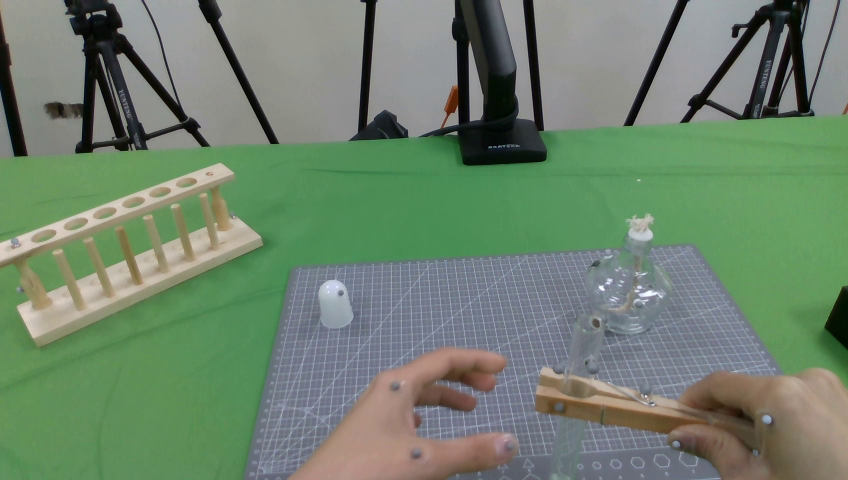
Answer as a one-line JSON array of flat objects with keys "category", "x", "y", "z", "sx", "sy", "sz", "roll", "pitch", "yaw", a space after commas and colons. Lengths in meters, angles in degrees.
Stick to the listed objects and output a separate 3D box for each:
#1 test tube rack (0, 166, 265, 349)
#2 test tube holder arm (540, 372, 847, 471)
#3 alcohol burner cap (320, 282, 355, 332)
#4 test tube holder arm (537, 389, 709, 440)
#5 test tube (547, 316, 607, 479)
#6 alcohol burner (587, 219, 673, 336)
[{"category": "test tube rack", "x": -0.300, "y": 0.010, "z": 0.642, "sx": 0.242, "sy": 0.086, "sz": 0.066, "roll": -28, "pitch": 42, "yaw": -32}, {"category": "test tube holder arm", "x": 0.150, "y": 0.097, "z": 0.318, "sx": 0.177, "sy": 0.015, "sz": 0.013, "roll": 9, "pitch": 37, "yaw": 18}, {"category": "alcohol burner cap", "x": -0.085, "y": 0.062, "z": 0.588, "sx": 0.034, "sy": 0.048, "sz": 0.033, "roll": -1, "pitch": 36, "yaw": 1}, {"category": "test tube holder arm", "x": 0.105, "y": 0.094, "z": 0.326, "sx": 0.087, "sy": 0.015, "sz": 0.010, "roll": 5, "pitch": 35, "yaw": 12}, {"category": "test tube", "x": 0.084, "y": 0.107, "z": 0.347, "sx": 0.017, "sy": 0.151, "sz": 0.017, "roll": 1, "pitch": 30, "yaw": 0}, {"category": "alcohol burner", "x": 0.190, "y": 0.029, "z": 0.553, "sx": 0.078, "sy": 0.120, "sz": 0.077, "roll": -1, "pitch": 38, "yaw": 1}]
